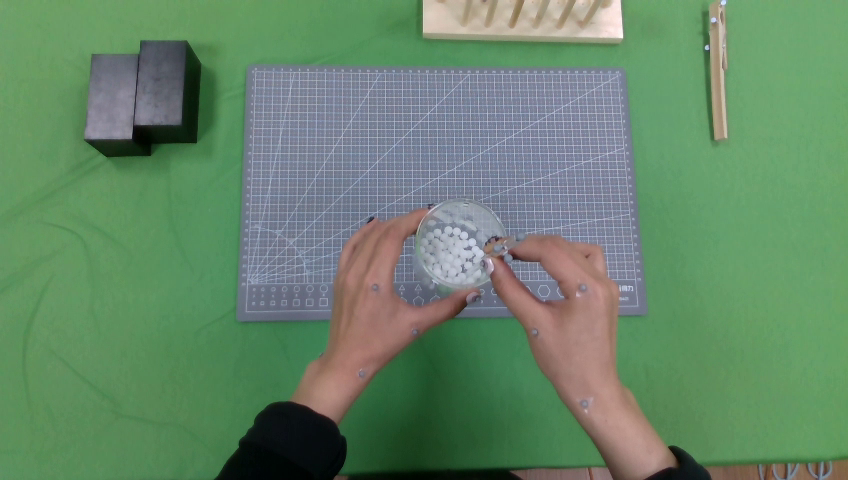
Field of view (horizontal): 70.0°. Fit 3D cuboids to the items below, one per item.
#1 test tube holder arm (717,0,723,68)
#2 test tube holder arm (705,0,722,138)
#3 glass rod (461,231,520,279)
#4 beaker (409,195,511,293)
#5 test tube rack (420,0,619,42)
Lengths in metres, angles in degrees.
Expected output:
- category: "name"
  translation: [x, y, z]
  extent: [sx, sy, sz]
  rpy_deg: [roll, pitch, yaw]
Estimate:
- category: "test tube holder arm"
  translation: [0.360, -0.252, 0.746]
  extent: [0.010, 0.015, 0.087]
  rpy_deg: [12, 76, -30]
- category: "test tube holder arm"
  translation: [0.351, -0.210, 0.734]
  extent: [0.013, 0.015, 0.177]
  rpy_deg: [12, 76, -31]
- category: "glass rod"
  translation: [0.047, 0.016, 0.470]
  extent: [0.008, 0.200, 0.008]
  rpy_deg: [1, 79, -6]
- category: "beaker"
  translation: [0.027, 0.009, 0.528]
  extent: [0.084, 0.100, 0.074]
  rpy_deg: [16, 80, -2]
- category: "test tube rack"
  translation: [0.118, -0.286, 0.706]
  extent: [0.242, 0.085, 0.066]
  rpy_deg: [1, 78, -3]
